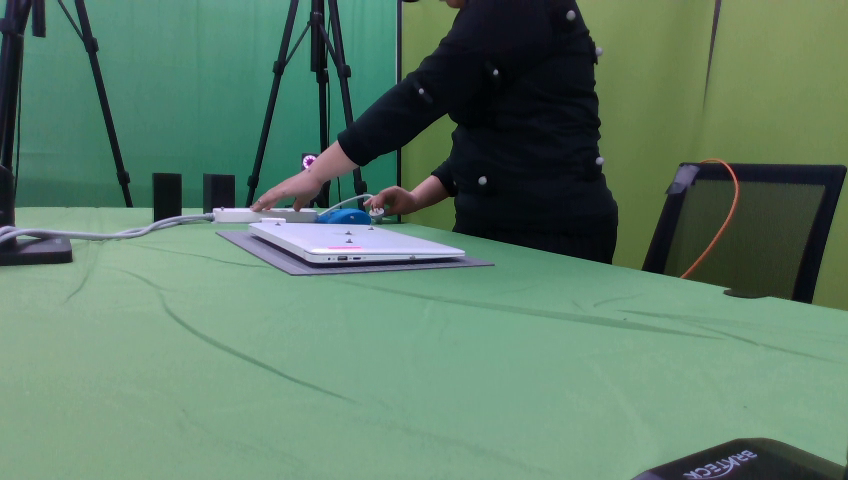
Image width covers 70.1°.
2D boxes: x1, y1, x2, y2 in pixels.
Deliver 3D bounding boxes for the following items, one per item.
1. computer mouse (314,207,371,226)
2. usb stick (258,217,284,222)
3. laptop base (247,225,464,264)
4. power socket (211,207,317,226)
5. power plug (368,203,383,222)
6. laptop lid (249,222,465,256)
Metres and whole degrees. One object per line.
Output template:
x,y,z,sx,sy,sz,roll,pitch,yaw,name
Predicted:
-0.175,-0.047,1.292,0.118,0.041,0.062,-8,15,-33,computer mouse
-0.291,-0.028,1.118,0.059,0.027,0.021,-2,11,-28,usb stick
-0.124,0.006,0.955,0.237,0.023,0.352,2,6,-30,laptop base
-0.335,-0.052,1.282,0.228,0.032,0.072,-2,11,-29,power socket
-0.119,-0.070,1.405,0.035,0.053,0.072,-16,34,-18,power plug
-0.122,-0.005,0.955,0.243,0.013,0.355,2,7,-28,laptop lid
